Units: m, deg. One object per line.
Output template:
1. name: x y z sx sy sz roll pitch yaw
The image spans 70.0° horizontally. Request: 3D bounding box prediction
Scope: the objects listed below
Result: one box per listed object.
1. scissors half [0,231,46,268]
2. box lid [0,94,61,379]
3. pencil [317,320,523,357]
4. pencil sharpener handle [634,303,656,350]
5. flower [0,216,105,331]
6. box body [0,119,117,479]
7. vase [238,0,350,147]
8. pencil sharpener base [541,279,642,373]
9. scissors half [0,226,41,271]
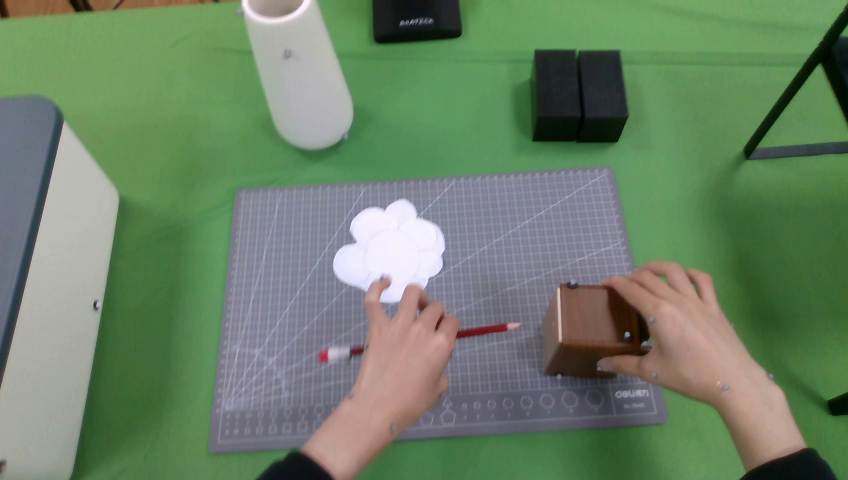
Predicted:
1. scissors half: -0.509 0.035 0.667 0.175 0.040 0.012 -28 34 -13
2. box lid: -0.472 0.027 0.516 0.263 0.015 0.368 -4 64 -2
3. pencil: -0.003 0.089 0.561 0.194 0.012 0.012 -8 63 -4
4. pencil sharpener handle: 0.207 0.084 0.564 0.030 0.068 0.035 2 54 3
5. flower: -0.465 0.095 0.661 0.038 0.044 0.359 -12 38 32
6. box body: -0.469 0.062 0.584 0.254 0.161 0.361 -5 64 0
7. vase: -0.144 -0.193 0.677 0.098 0.201 0.097 -1 63 3
8. pencil sharpener base: 0.157 0.085 0.579 0.076 0.108 0.061 2 63 3
9. scissors half: -0.504 0.045 0.674 0.175 0.040 0.012 -36 30 -7
